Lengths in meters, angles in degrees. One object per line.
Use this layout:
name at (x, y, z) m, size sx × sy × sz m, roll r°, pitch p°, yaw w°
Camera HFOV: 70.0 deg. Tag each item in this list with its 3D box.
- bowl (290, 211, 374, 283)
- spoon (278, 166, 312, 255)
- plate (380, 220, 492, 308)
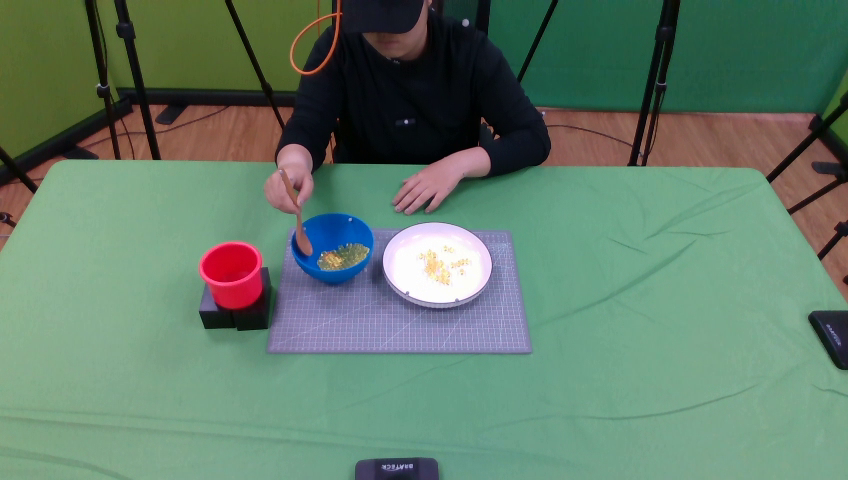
bowl at (-0.167, 0.026, 1.117) m, size 0.151 × 0.077 × 0.150 m, roll 2°, pitch 46°, yaw -2°
spoon at (-0.222, -0.049, 1.047) m, size 0.021 × 0.195 × 0.041 m, roll 1°, pitch 43°, yaw 5°
plate at (0.022, 0.048, 1.137) m, size 0.208 × 0.039 × 0.206 m, roll 2°, pitch 46°, yaw -2°
